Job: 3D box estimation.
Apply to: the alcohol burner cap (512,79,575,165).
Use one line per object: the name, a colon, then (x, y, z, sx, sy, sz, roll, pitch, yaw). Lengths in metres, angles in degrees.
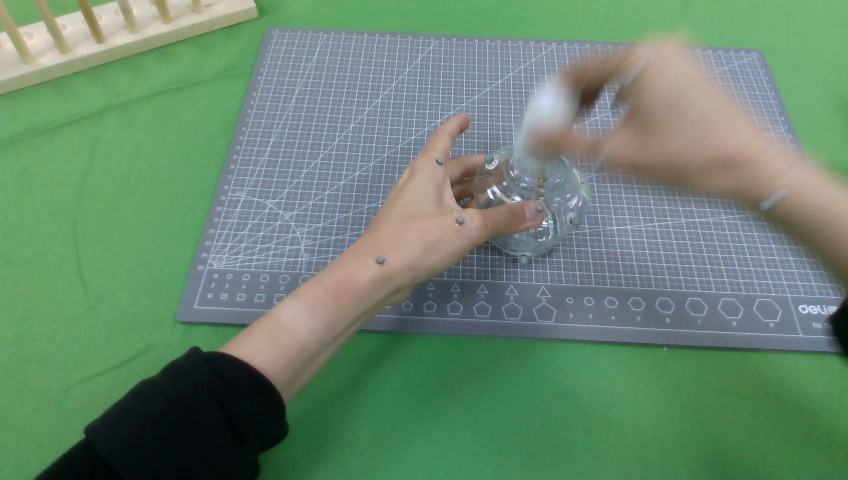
alcohol burner cap: (0.070, -0.070, 0.345, 0.034, 0.048, 0.033, 1, 53, -1)

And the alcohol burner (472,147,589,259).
alcohol burner: (0.071, -0.040, 0.387, 0.078, 0.120, 0.077, 2, 56, -2)

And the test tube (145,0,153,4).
test tube: (-0.246, -0.266, 0.492, 0.017, 0.151, 0.017, -1, 46, 2)

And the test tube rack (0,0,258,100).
test tube rack: (-0.276, -0.203, 0.512, 0.242, 0.086, 0.066, -24, 59, -17)
